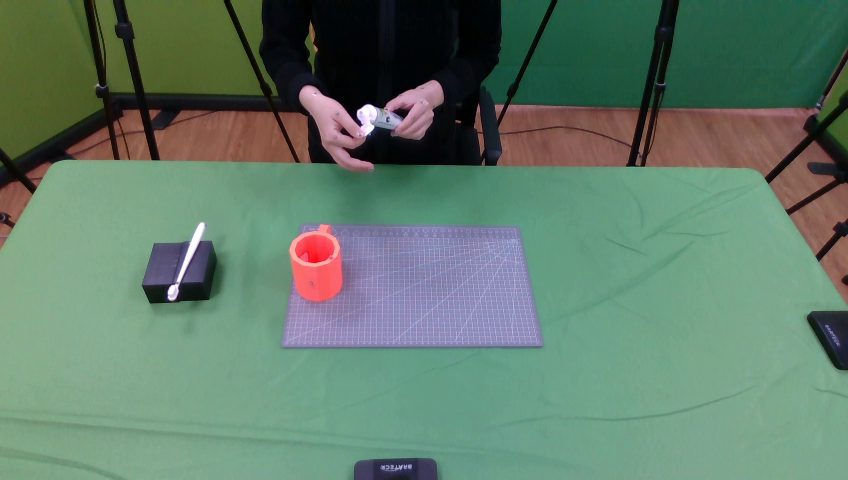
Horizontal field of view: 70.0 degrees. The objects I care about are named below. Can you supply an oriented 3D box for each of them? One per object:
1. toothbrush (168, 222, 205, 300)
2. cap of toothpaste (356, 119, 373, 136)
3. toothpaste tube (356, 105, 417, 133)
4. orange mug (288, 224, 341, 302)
[{"bbox_3d":[-0.419,0.032,1.070,0.014,0.017,0.180,1,46,2],"label":"toothbrush"},{"bbox_3d":[-0.102,-0.190,1.024,0.037,0.011,0.037,-28,29,18],"label":"cap of toothpaste"},{"bbox_3d":[-0.069,-0.219,1.100,0.055,0.034,0.165,51,25,16],"label":"toothpaste tube"},{"bbox_3d":[-0.192,0.034,1.094,0.083,0.101,0.125,7,50,2],"label":"orange mug"}]
